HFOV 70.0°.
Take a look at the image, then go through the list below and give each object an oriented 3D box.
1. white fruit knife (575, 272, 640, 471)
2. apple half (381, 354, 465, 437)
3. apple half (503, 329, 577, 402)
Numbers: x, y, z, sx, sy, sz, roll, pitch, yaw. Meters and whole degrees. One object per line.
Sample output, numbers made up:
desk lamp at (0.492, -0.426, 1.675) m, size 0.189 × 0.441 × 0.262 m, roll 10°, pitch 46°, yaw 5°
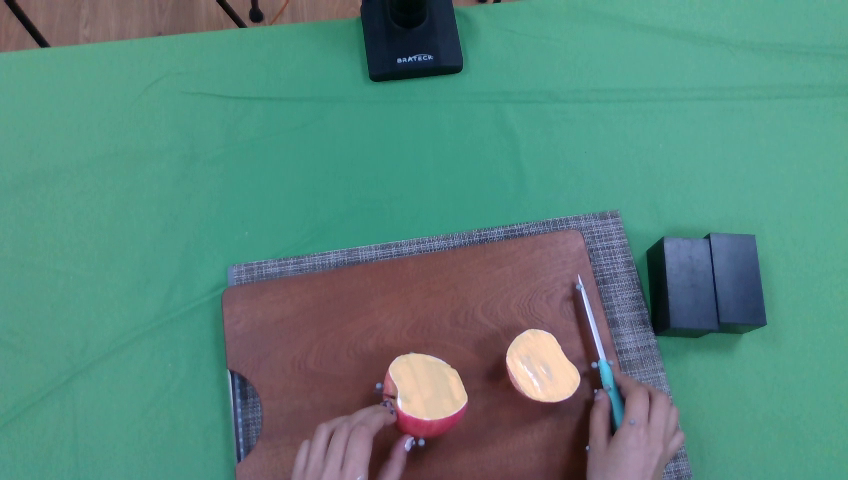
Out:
white fruit knife at (0.183, 0.130, 0.622) m, size 0.016 × 0.027 × 0.206 m, roll -21°, pitch 70°, yaw 23°
apple half at (-0.004, 0.157, 0.589) m, size 0.075 × 0.054 × 0.080 m, roll -1°, pitch 40°, yaw -24°
apple half at (0.110, 0.132, 0.610) m, size 0.081 × 0.033 × 0.080 m, roll 12°, pitch 52°, yaw -15°
